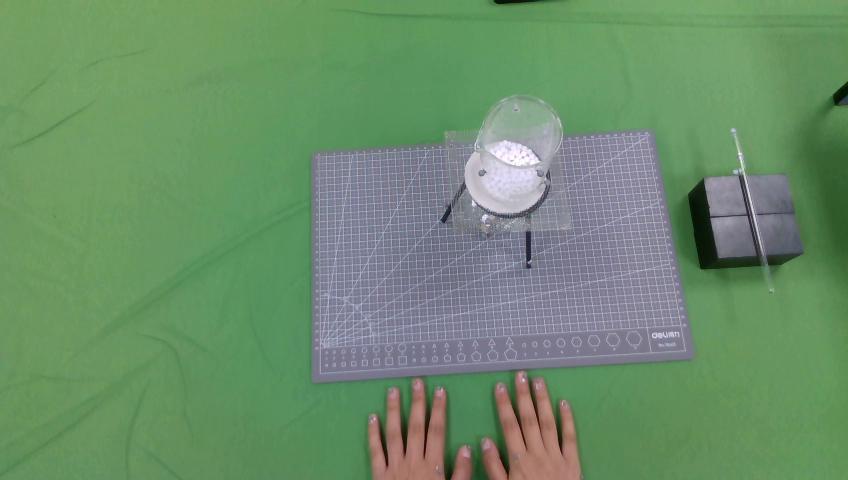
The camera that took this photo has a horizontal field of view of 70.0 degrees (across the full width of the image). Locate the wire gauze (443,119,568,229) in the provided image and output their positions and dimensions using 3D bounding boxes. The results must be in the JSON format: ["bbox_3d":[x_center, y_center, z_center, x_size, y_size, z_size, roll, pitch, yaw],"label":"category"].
[{"bbox_3d":[0.085,-0.069,0.638,0.125,0.011,0.121,-2,74,-2],"label":"wire gauze"}]

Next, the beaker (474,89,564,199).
[{"bbox_3d":[0.086,-0.087,0.593,0.084,0.101,0.073,-19,73,-4],"label":"beaker"}]

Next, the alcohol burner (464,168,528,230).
[{"bbox_3d":[0.086,-0.054,0.712,0.078,0.119,0.077,0,75,1],"label":"alcohol burner"}]

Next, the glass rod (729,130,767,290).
[{"bbox_3d":[0.380,-0.039,0.710,0.008,0.008,0.198,-3,74,0],"label":"glass rod"}]

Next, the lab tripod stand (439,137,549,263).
[{"bbox_3d":[0.090,-0.054,0.702,0.148,0.132,0.147,-1,72,2],"label":"lab tripod stand"}]
